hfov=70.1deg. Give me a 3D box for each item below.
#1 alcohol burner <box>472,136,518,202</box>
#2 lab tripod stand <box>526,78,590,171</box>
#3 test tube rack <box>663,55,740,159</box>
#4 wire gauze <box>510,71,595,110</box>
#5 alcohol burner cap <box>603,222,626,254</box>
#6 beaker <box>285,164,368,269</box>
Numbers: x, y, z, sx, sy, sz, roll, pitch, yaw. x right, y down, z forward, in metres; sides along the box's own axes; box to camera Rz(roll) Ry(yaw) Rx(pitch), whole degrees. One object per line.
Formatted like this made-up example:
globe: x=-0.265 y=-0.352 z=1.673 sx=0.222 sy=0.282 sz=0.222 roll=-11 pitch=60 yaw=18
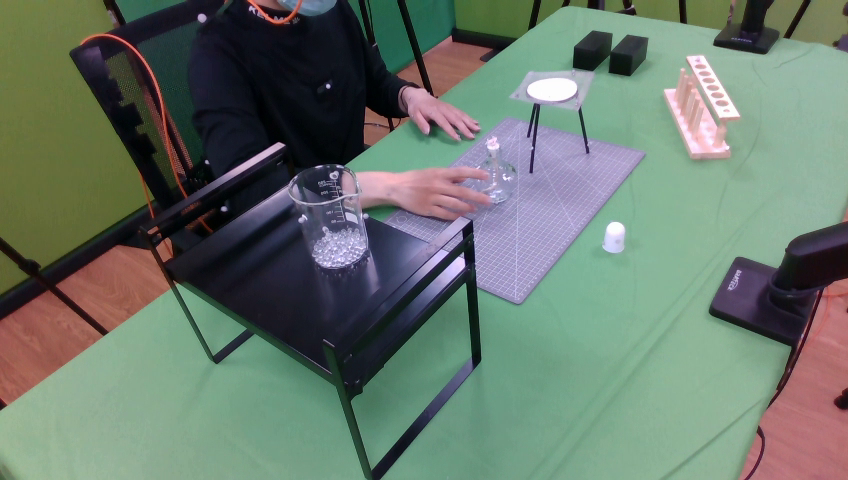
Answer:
alcohol burner: x=0.121 y=-0.124 z=1.023 sx=0.078 sy=0.119 sz=0.077 roll=-3 pitch=42 yaw=3
lab tripod stand: x=0.228 y=-0.216 z=1.097 sx=0.148 sy=0.132 sz=0.147 roll=-6 pitch=40 yaw=5
test tube rack: x=0.518 y=-0.256 z=1.144 sx=0.066 sy=0.085 sz=0.241 roll=-1 pitch=41 yaw=8
wire gauze: x=0.224 y=-0.266 z=1.054 sx=0.124 sy=0.011 sz=0.121 roll=12 pitch=44 yaw=23
alcohol burner cap: x=0.291 y=-0.006 z=0.921 sx=0.034 sy=0.048 sz=0.033 roll=-4 pitch=40 yaw=4
beaker: x=-0.102 y=-0.024 z=0.676 sx=0.083 sy=0.101 sz=0.074 roll=8 pitch=43 yaw=16
